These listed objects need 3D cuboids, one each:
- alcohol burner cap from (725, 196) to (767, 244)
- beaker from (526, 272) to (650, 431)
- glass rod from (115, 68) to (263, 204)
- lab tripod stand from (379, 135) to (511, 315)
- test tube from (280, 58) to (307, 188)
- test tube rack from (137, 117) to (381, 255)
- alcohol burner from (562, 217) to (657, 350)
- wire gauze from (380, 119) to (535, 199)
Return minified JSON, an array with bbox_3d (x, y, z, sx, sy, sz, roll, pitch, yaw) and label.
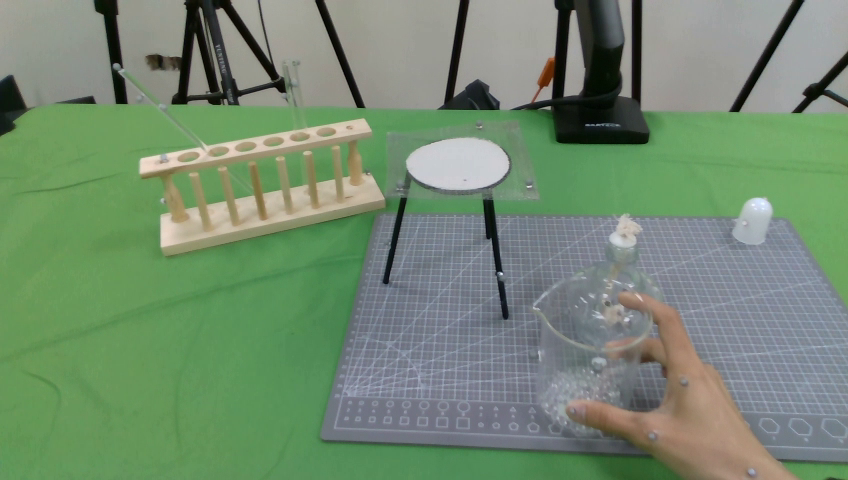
[{"bbox_3d":[0.333,-0.023,0.623,0.034,0.048,0.033,-1,38,1],"label":"alcohol burner cap"},{"bbox_3d":[0.115,0.085,0.447,0.084,0.101,0.073,6,38,12],"label":"beaker"},{"bbox_3d":[-0.236,-0.100,0.628,0.008,0.202,0.008,-22,42,22],"label":"glass rod"},{"bbox_3d":[0.027,-0.016,0.554,0.148,0.133,0.147,-2,40,2],"label":"lab tripod stand"},{"bbox_3d":[-0.140,-0.123,0.664,0.017,0.151,0.017,0,35,1],"label":"test tube"},{"bbox_3d":[-0.175,-0.063,0.668,0.243,0.086,0.066,-14,39,-14],"label":"test tube rack"},{"bbox_3d":[0.155,0.033,0.501,0.078,0.120,0.077,-1,36,1],"label":"alcohol burner"},{"bbox_3d":[0.024,-0.069,0.513,0.125,0.011,0.120,-3,38,1],"label":"wire gauze"}]
